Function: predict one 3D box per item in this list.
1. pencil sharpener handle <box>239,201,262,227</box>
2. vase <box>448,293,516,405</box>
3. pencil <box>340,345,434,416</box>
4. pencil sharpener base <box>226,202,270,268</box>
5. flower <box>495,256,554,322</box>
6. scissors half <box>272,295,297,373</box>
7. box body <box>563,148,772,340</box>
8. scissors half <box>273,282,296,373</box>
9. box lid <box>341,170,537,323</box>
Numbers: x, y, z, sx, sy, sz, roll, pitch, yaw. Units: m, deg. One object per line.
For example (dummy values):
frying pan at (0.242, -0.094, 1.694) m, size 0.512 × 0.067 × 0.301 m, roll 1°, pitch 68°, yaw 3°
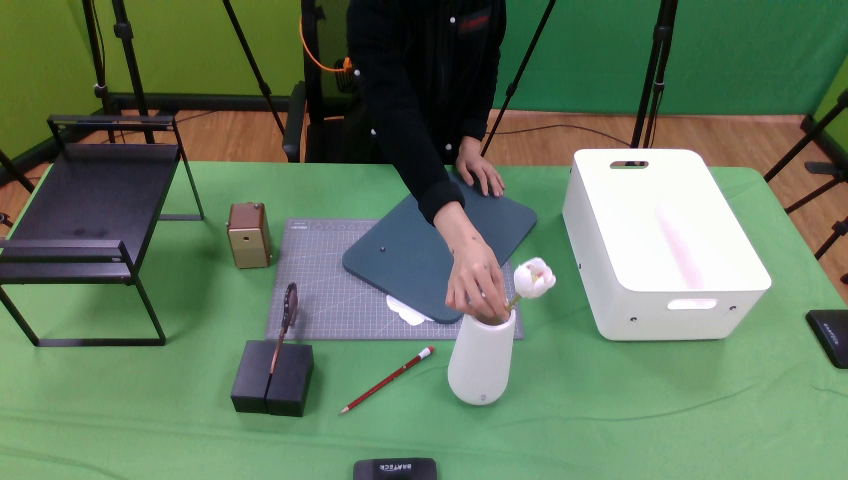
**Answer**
pencil sharpener handle at (-0.325, -0.055, 1.150) m, size 0.036 × 0.068 × 0.030 m, roll -13°, pitch 46°, yaw 4°
vase at (0.091, 0.169, 0.921) m, size 0.098 × 0.201 × 0.097 m, roll 3°, pitch 47°, yaw -3°
pencil at (-0.058, 0.228, 0.984) m, size 0.194 × 0.012 × 0.012 m, roll -32°, pitch 57°, yaw -28°
pencil sharpener base at (-0.323, -0.010, 1.123) m, size 0.061 × 0.107 × 0.076 m, roll -3°, pitch 46°, yaw -7°
flower at (0.106, 0.104, 0.839) m, size 0.044 × 0.363 × 0.038 m, roll 15°, pitch 65°, yaw 0°
scissors half at (-0.230, 0.154, 1.000) m, size 0.013 × 0.040 × 0.174 m, roll 1°, pitch 34°, yaw 1°
box body at (0.421, 0.003, 1.130) m, size 0.254 × 0.161 × 0.361 m, roll 0°, pitch 46°, yaw -5°
scissors half at (-0.229, 0.139, 0.986) m, size 0.013 × 0.040 × 0.174 m, roll 5°, pitch 50°, yaw -3°
box lid at (0.038, -0.004, 1.210) m, size 0.262 × 0.015 × 0.371 m, roll 27°, pitch 49°, yaw 21°
